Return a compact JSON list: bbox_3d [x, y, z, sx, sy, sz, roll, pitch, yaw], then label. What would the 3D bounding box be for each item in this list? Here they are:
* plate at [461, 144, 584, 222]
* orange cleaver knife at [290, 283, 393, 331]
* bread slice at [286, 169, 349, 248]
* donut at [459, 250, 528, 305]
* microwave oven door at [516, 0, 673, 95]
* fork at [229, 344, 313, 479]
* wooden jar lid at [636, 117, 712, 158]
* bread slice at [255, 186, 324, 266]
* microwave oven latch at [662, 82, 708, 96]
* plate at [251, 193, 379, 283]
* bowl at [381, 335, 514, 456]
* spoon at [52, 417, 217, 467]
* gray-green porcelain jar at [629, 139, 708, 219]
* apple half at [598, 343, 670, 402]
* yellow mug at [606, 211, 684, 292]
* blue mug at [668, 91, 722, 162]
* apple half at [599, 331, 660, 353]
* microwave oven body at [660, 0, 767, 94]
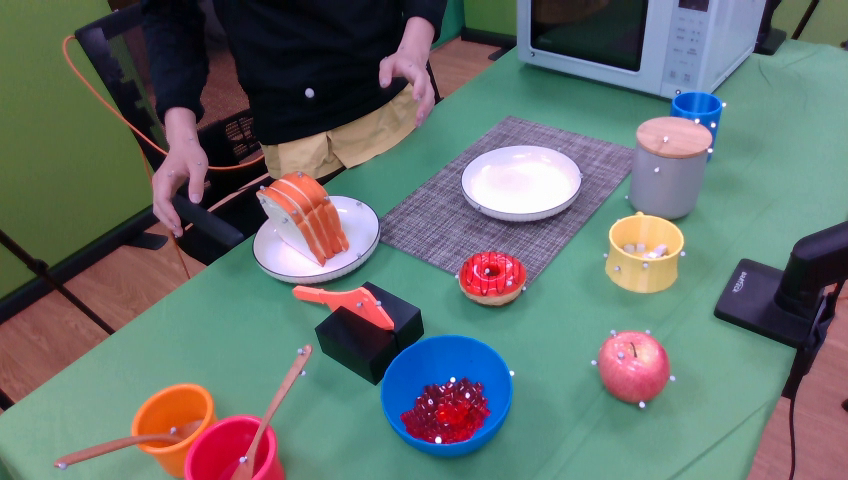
[{"bbox_3d":[0.168,-0.095,1.040,0.207,0.039,0.206,-4,40,4],"label":"plate"},{"bbox_3d":[-0.118,0.091,0.835,0.209,0.077,0.012,1,35,48],"label":"orange cleaver knife"},{"bbox_3d":[-0.170,-0.053,0.960,0.104,0.132,0.019,30,61,36],"label":"bread slice"},{"bbox_3d":[0.100,0.053,0.872,0.099,0.048,0.098,-5,41,4],"label":"donut"},{"bbox_3d":[0.344,-0.458,1.256,0.353,0.245,0.039,26,51,33],"label":"microwave oven door"},{"bbox_3d":[-0.173,0.205,0.662,0.028,0.019,0.207,29,94,36],"label":"fork"},{"bbox_3d":[0.377,-0.151,0.917,0.108,0.021,0.108,-2,42,2],"label":"wooden jar lid"},{"bbox_3d":[-0.211,-0.027,0.936,0.106,0.135,0.018,27,61,35],"label":"bread slice"},{"bbox_3d":[0.518,-0.298,1.202,0.078,0.029,0.030,29,53,35],"label":"microwave oven latch"},{"bbox_3d":[-0.173,-0.001,0.985,0.209,0.038,0.208,-4,41,4],"label":"plate"},{"bbox_3d":[0.029,0.192,0.701,0.151,0.077,0.150,-4,40,4],"label":"bowl"},{"bbox_3d":[-0.308,0.219,0.663,0.041,0.195,0.021,24,94,29],"label":"spoon"},{"bbox_3d":[0.383,-0.105,0.958,0.106,0.127,0.105,-4,41,4],"label":"gray-green porcelain jar"},{"bbox_3d":[0.247,0.161,0.710,0.081,0.075,0.053,2,47,5],"label":"apple half"},{"bbox_3d":[0.318,0.008,0.883,0.100,0.064,0.130,0,40,9],"label":"yellow mug"},{"bbox_3d":[0.475,-0.207,1.078,0.082,0.106,0.116,4,42,13],"label":"blue mug"},{"bbox_3d":[0.249,0.134,0.738,0.081,0.081,0.032,-1,46,7],"label":"apple half"},{"bbox_3d":[0.473,-0.516,1.313,0.438,0.261,0.327,26,51,34],"label":"microwave oven body"}]
